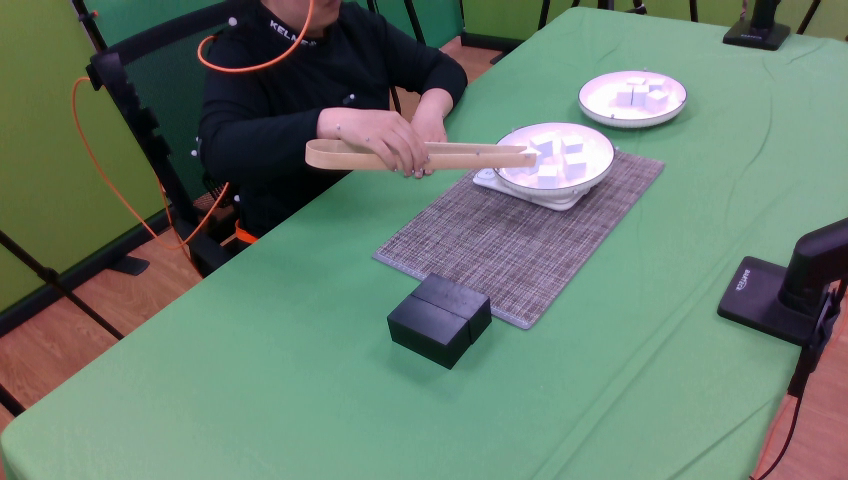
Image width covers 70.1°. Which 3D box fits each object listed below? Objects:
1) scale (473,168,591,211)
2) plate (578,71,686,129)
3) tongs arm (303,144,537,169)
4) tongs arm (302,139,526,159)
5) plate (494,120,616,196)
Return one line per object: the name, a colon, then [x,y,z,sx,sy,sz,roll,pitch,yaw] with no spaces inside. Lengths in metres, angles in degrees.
scale: [0.202,-0.121,1.074,0.199,0.032,0.149,23,49,33]
plate: [0.416,-0.280,1.222,0.209,0.038,0.208,-5,41,5]
tongs arm: [0.007,-0.131,0.944,0.387,0.026,0.050,-5,33,-27]
tongs arm: [-0.003,-0.143,0.965,0.390,0.028,0.028,-3,35,-24]
plate: [0.221,-0.137,1.038,0.207,0.039,0.206,-6,41,5]
